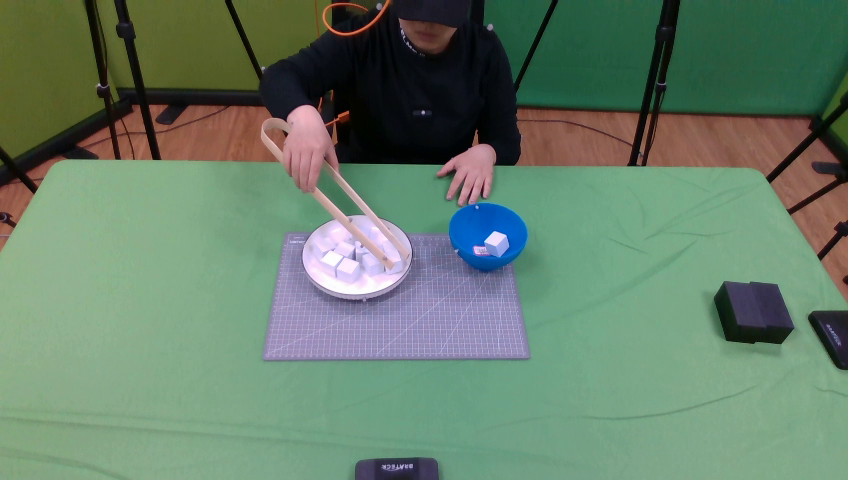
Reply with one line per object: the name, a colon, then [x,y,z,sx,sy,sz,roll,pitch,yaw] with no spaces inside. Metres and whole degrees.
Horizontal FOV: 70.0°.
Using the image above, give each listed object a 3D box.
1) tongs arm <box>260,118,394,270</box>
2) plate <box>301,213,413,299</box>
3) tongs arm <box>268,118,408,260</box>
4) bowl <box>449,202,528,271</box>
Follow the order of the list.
tongs arm: [-0.183,-0.090,1.142,0.384,0.026,0.050,43,55,10]
plate: [-0.124,0.033,1.143,0.208,0.039,0.206,2,46,-2]
tongs arm: [-0.166,-0.102,1.156,0.028,0.028,0.386,-37,76,-30]
bowl: [0.118,0.006,1.160,0.151,0.077,0.150,2,46,-2]
